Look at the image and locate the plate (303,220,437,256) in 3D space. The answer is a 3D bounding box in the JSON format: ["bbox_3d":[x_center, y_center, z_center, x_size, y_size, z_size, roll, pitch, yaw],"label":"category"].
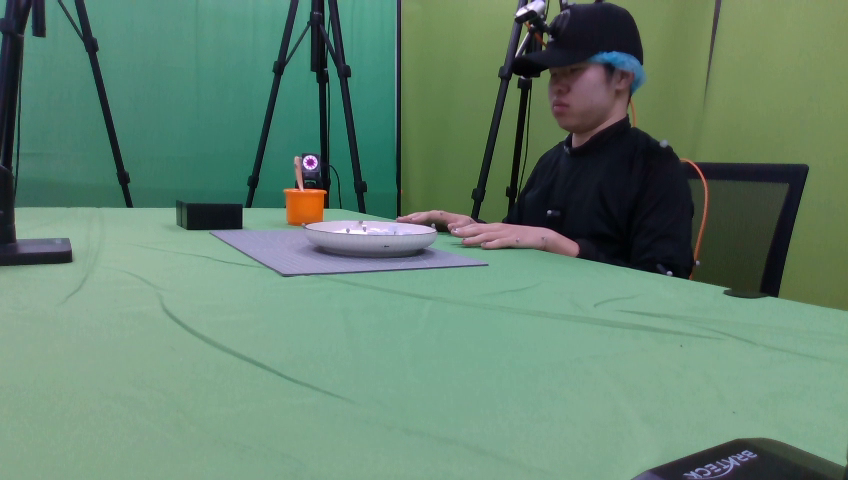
[{"bbox_3d":[-0.084,-0.003,0.951,0.209,0.038,0.209,3,7,0],"label":"plate"}]

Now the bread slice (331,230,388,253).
[{"bbox_3d":[-0.088,0.000,0.947,0.105,0.019,0.131,-4,11,-45],"label":"bread slice"}]

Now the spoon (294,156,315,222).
[{"bbox_3d":[-0.271,-0.116,1.328,0.042,0.021,0.193,-1,48,-21],"label":"spoon"}]
